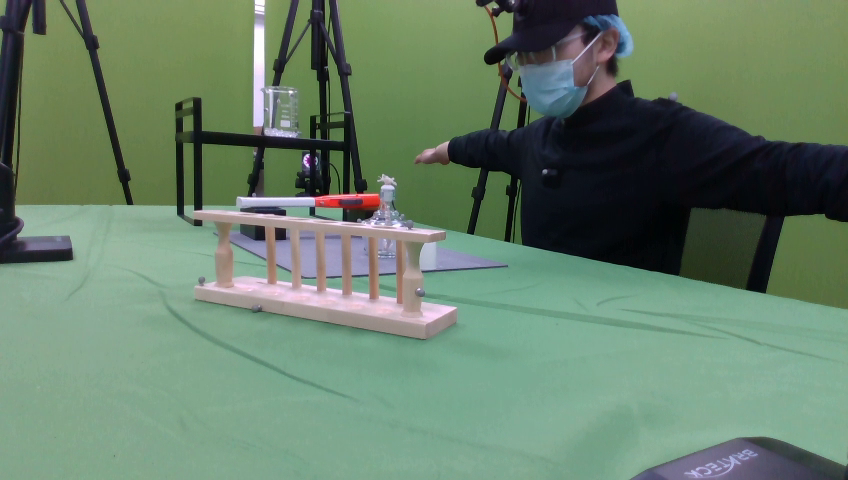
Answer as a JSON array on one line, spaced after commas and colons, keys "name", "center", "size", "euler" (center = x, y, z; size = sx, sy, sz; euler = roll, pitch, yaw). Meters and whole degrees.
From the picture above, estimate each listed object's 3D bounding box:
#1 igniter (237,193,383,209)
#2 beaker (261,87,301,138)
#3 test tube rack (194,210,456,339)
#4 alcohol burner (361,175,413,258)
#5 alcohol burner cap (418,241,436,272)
[{"name": "igniter", "center": [-0.191, -0.069, 1.072], "size": [0.278, 0.025, 0.057], "euler": [-5, 11, -35]}, {"name": "beaker", "center": [-0.298, -0.263, 1.255], "size": [0.084, 0.100, 0.073], "euler": [-5, 10, -40]}, {"name": "test tube rack", "center": [-0.093, 0.023, 0.545], "size": [0.241, 0.085, 0.067], "euler": [6, 8, 25]}, {"name": "alcohol burner", "center": [-0.054, -0.034, 0.870], "size": [0.078, 0.119, 0.078], "euler": [1, 9, 0]}, {"name": "alcohol burner cap", "center": [0.001, 0.015, 0.787], "size": [0.034, 0.048, 0.034], "euler": [4, 7, 0]}]
